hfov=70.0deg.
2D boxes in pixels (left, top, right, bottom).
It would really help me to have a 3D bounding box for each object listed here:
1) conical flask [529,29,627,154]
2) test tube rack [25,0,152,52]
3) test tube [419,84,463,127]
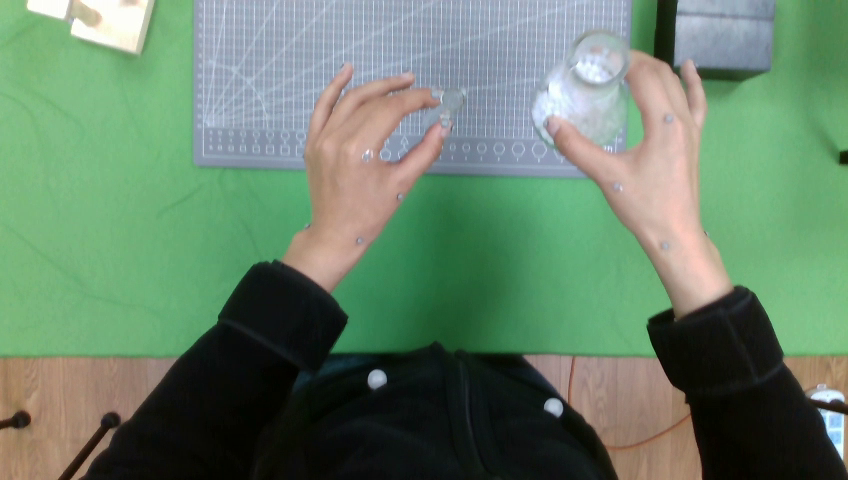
[{"bbox_3d":[0.112,-0.108,0.426,0.075,0.122,0.075,0,87,9],"label":"conical flask"},{"bbox_3d":[-0.286,-0.314,0.566,0.067,0.085,0.242,15,92,-4],"label":"test tube rack"},{"bbox_3d":[0.011,-0.101,0.468,0.017,0.149,0.017,-1,96,-6],"label":"test tube"}]
